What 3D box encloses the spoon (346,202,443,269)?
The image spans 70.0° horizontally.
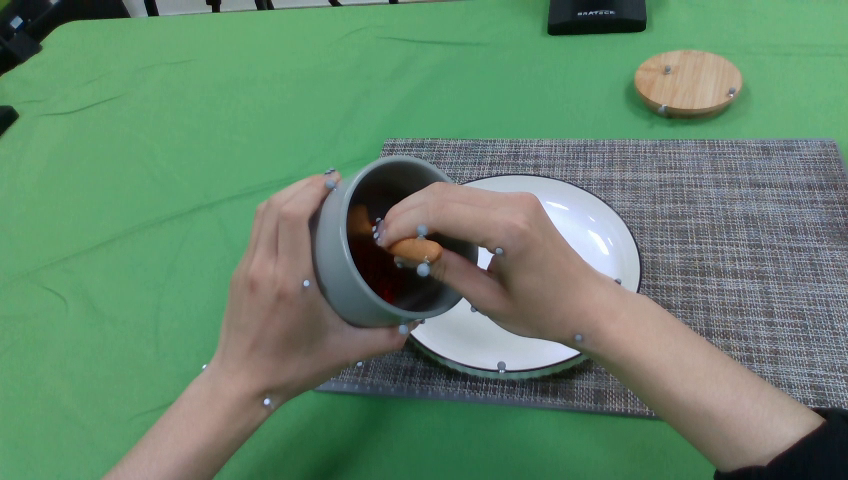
[{"bbox_3d":[-0.026,-0.003,0.380,0.041,0.022,0.192,-41,23,-13],"label":"spoon"}]

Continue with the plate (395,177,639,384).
[{"bbox_3d":[0.070,0.031,0.508,0.207,0.039,0.205,-5,48,7],"label":"plate"}]

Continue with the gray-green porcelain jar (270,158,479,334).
[{"bbox_3d":[-0.042,0.011,0.425,0.126,0.106,0.105,-18,32,52],"label":"gray-green porcelain jar"}]

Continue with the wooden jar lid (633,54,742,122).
[{"bbox_3d":[0.282,-0.163,0.654,0.108,0.021,0.107,-5,49,7],"label":"wooden jar lid"}]
